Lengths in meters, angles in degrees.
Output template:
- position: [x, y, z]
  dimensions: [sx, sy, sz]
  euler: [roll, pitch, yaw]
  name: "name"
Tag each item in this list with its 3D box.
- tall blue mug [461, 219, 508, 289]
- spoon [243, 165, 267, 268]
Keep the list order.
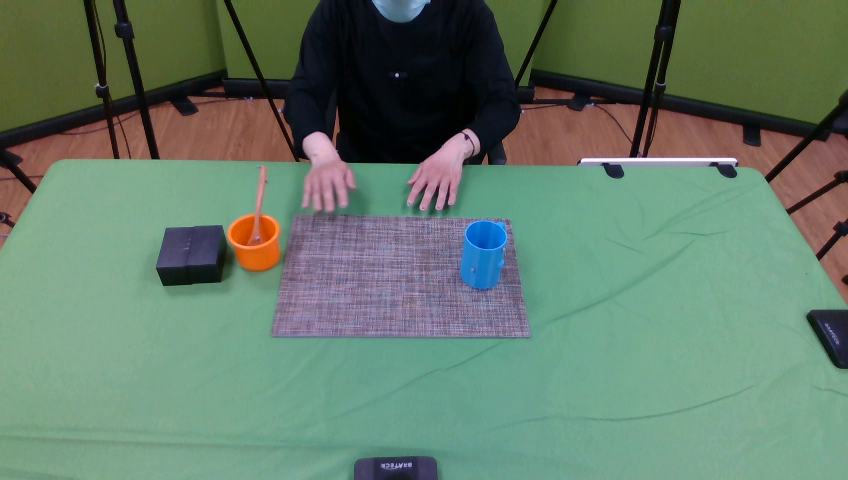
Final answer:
- position: [0.111, 0.016, 1.122]
  dimensions: [0.078, 0.108, 0.106]
  euler: [6, 46, 4]
  name: "tall blue mug"
- position: [-0.309, -0.044, 1.130]
  dimensions: [0.041, 0.193, 0.021]
  euler: [7, 2, 7]
  name: "spoon"
